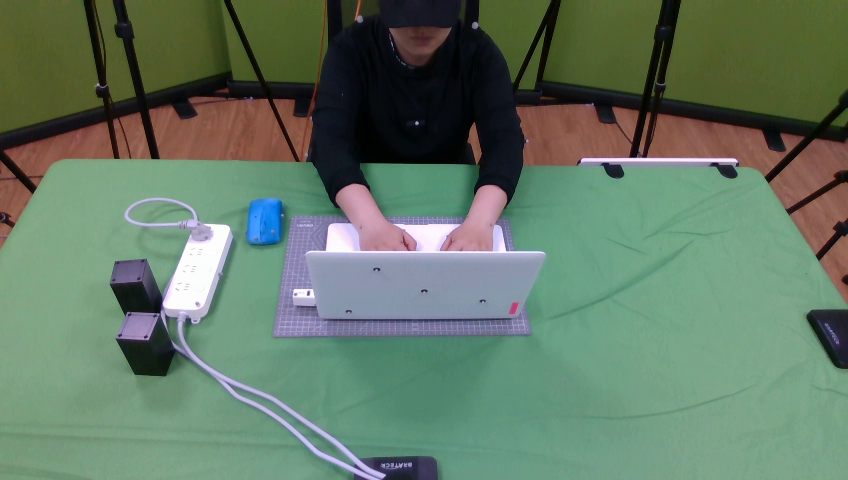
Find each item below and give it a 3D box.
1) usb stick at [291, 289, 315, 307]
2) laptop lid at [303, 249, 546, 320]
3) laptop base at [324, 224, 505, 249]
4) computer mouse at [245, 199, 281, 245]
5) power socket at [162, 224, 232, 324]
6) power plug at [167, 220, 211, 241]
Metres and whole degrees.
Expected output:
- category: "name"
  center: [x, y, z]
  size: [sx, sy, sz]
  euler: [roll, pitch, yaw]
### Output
- category: "usb stick"
  center: [-0.203, 0.102, 1.066]
  size: [0.059, 0.027, 0.021]
  euler: [4, 45, -5]
- category: "laptop lid"
  center: [-0.002, 0.077, 0.962]
  size: [0.357, 0.242, 0.013]
  euler: [1, 58, -5]
- category: "laptop base"
  center: [-0.014, 0.055, 1.144]
  size: [0.355, 0.023, 0.234]
  euler: [0, 42, -4]
- category: "computer mouse"
  center: [-0.318, -0.039, 1.201]
  size: [0.063, 0.041, 0.116]
  euler: [0, 50, -8]
- category: "power socket"
  center: [-0.411, 0.052, 1.106]
  size: [0.072, 0.033, 0.225]
  euler: [3, 45, -1]
- category: "power plug"
  center: [-0.438, -0.017, 1.143]
  size: [0.072, 0.053, 0.035]
  euler: [10, 43, 7]
